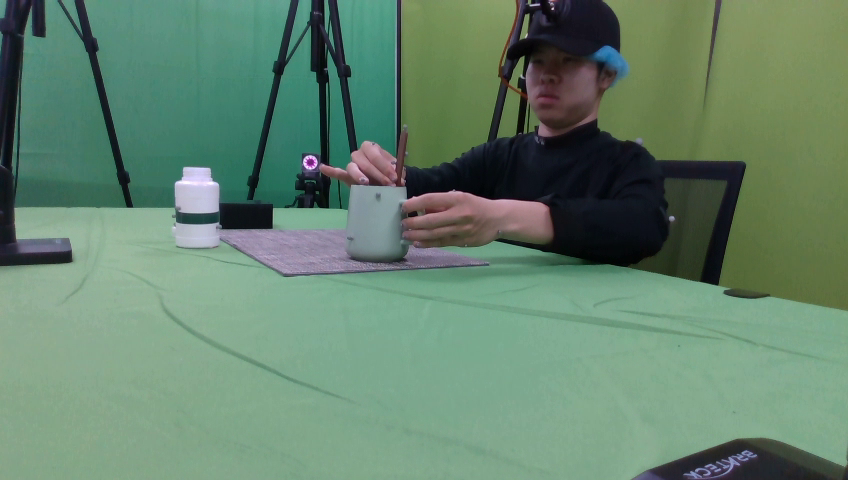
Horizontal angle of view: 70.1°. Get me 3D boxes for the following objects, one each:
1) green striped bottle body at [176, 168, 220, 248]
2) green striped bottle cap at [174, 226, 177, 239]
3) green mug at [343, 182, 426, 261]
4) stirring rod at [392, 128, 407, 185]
[{"bbox_3d":[-0.345,-0.050,0.924,0.063,0.119,0.063,2,7,0],"label":"green striped bottle body"},{"bbox_3d":[-0.404,-0.015,1.036,0.044,0.020,0.044,-1,9,1],"label":"green striped bottle cap"},{"bbox_3d":[-0.053,-0.025,0.848,0.125,0.105,0.093,6,8,29],"label":"green mug"},{"bbox_3d":[-0.041,-0.069,0.850,0.006,0.176,0.014,1,11,-41],"label":"stirring rod"}]
